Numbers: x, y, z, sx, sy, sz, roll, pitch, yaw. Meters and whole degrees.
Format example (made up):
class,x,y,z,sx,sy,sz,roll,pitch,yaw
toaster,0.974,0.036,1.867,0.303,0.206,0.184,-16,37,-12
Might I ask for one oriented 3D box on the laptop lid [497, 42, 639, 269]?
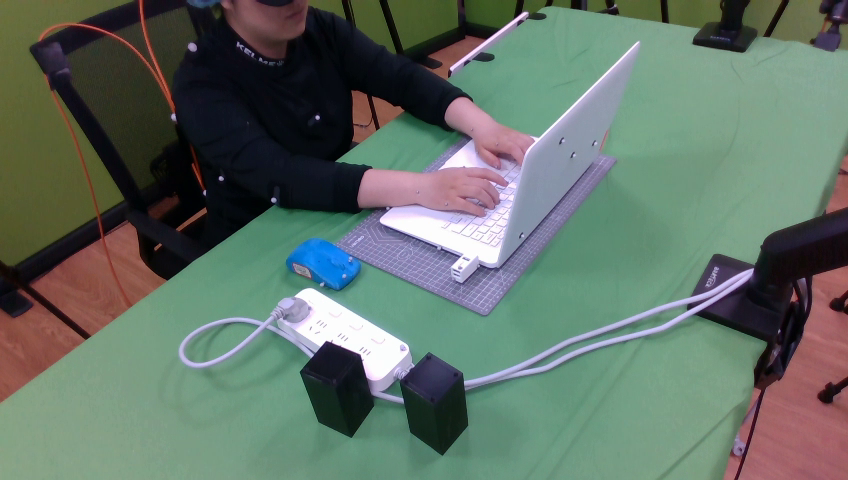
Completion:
class,x,y,z,sx,sy,sz,roll,pitch,yaw
laptop lid,0.221,-0.130,0.913,0.013,0.242,0.357,31,51,21

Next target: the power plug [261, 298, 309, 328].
class,x,y,z,sx,sy,sz,roll,pitch,yaw
power plug,-0.192,0.107,0.831,0.073,0.053,0.035,-32,43,-25

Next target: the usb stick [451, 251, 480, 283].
class,x,y,z,sx,sy,sz,roll,pitch,yaw
usb stick,0.066,0.036,0.899,0.021,0.027,0.059,23,46,32

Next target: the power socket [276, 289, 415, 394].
class,x,y,z,sx,sy,sz,roll,pitch,yaw
power socket,-0.114,0.133,0.821,0.225,0.033,0.072,25,49,33

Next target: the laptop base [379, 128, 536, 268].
class,x,y,z,sx,sy,sz,roll,pitch,yaw
laptop base,0.118,-0.088,1.058,0.233,0.023,0.355,19,47,33

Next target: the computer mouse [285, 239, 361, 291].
class,x,y,z,sx,sy,sz,roll,pitch,yaw
computer mouse,-0.158,0.036,0.940,0.116,0.041,0.063,22,46,25
